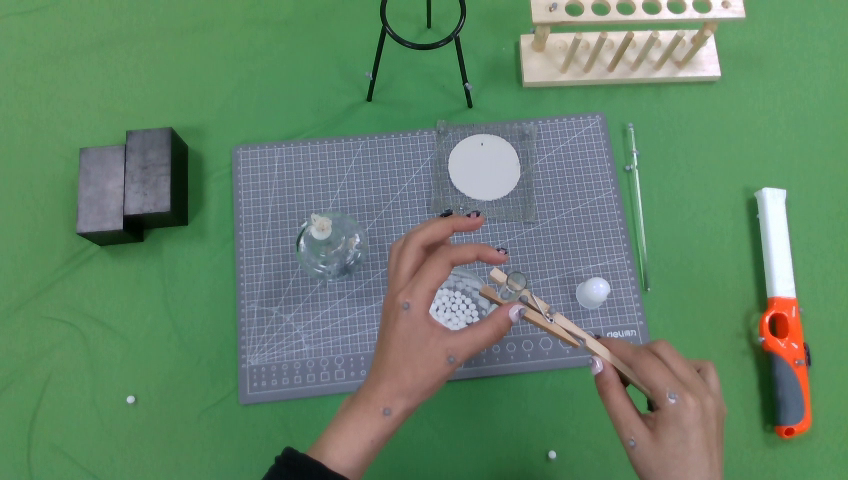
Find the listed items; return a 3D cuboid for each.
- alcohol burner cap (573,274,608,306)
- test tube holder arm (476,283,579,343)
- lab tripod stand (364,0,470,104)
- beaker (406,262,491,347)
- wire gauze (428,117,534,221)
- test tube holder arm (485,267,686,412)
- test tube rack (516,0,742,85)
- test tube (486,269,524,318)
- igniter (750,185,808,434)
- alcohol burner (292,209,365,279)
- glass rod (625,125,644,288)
[{"bbox_3d":[0.184,0.053,0.664,0.034,0.048,0.033,0,75,-1],"label":"alcohol burner cap"},{"bbox_3d":[0.082,0.057,0.476,0.087,0.015,0.010,25,82,9],"label":"test tube holder arm"},{"bbox_3d":[-0.006,-0.221,0.688,0.148,0.132,0.147,0,77,0],"label":"lab tripod stand"},{"bbox_3d":[0.024,0.072,0.626,0.084,0.101,0.073,-13,75,-4],"label":"beaker"},{"bbox_3d":[0.069,-0.087,0.716,0.125,0.011,0.121,5,76,0],"label":"wire gauze"},{"bbox_3d":[0.122,0.075,0.469,0.178,0.015,0.013,34,84,10],"label":"test tube holder arm"},{"bbox_3d":[0.239,-0.239,0.721,0.242,0.085,0.066,-2,75,-1],"label":"test tube rack"},{"bbox_3d":[0.065,0.047,0.501,0.017,0.151,0.017,0,75,1],"label":"test tube"},{"bbox_3d":[0.392,0.071,0.672,0.057,0.025,0.275,5,75,-10],"label":"igniter"},{"bbox_3d":[-0.103,-0.001,0.636,0.078,0.120,0.077,0,74,2],"label":"alcohol burner"},{"bbox_3d":[0.246,-0.042,0.709,0.008,0.008,0.198,0,78,-1],"label":"glass rod"}]
